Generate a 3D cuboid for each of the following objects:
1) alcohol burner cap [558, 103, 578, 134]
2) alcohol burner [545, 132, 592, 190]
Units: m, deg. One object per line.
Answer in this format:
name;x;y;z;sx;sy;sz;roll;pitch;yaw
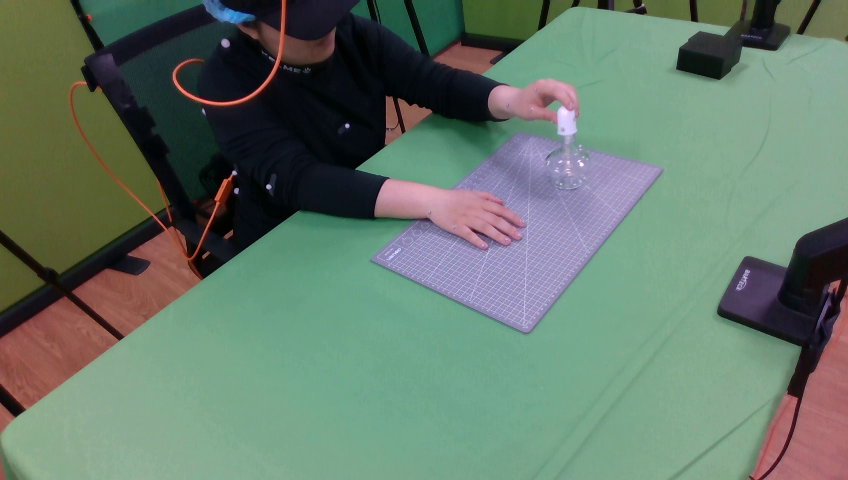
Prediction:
alcohol burner cap;0.235;-0.200;0.994;0.034;0.048;0.033;-10;27;6
alcohol burner;0.247;-0.146;1.035;0.078;0.120;0.077;-7;41;6
